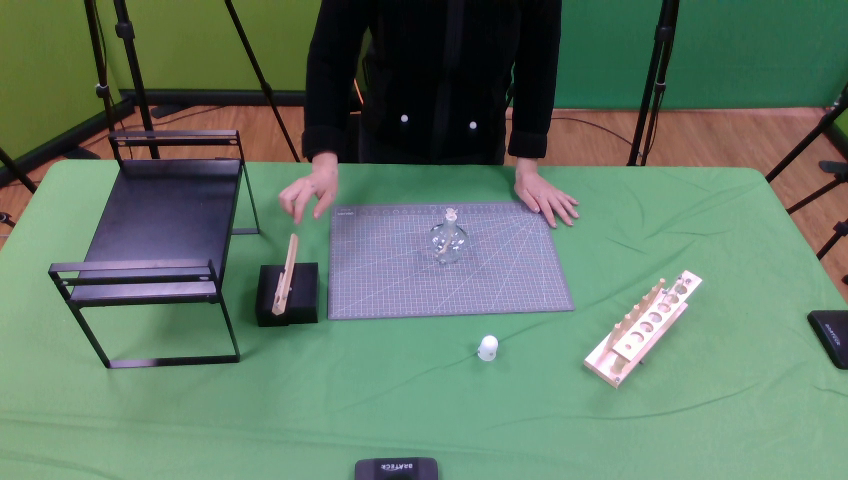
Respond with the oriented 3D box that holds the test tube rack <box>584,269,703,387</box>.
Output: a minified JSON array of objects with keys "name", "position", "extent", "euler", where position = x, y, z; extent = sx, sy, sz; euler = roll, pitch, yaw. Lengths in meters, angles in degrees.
[{"name":"test tube rack","position":[0.380,0.139,1.046],"extent":[0.066,0.085,0.242],"euler":[37,54,28]}]

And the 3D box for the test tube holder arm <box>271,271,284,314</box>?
[{"name":"test tube holder arm","position":[-0.244,0.087,1.028],"extent":[0.010,0.015,0.087],"euler":[-20,42,22]}]

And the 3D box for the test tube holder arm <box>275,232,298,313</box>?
[{"name":"test tube holder arm","position":[-0.238,0.053,1.057],"extent":[0.013,0.015,0.177],"euler":[-21,42,21]}]

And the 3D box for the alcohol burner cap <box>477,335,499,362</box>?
[{"name":"alcohol burner cap","position":[0.109,0.179,1.017],"extent":[0.034,0.048,0.033],"euler":[4,50,-4]}]

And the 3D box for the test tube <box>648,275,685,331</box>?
[{"name":"test tube","position":[0.401,0.109,1.007],"extent":[0.017,0.151,0.017],"euler":[1,50,0]}]

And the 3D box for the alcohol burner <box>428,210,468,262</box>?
[{"name":"alcohol burner","position":[0.048,-0.015,1.146],"extent":[0.078,0.119,0.077],"euler":[3,48,-3]}]
